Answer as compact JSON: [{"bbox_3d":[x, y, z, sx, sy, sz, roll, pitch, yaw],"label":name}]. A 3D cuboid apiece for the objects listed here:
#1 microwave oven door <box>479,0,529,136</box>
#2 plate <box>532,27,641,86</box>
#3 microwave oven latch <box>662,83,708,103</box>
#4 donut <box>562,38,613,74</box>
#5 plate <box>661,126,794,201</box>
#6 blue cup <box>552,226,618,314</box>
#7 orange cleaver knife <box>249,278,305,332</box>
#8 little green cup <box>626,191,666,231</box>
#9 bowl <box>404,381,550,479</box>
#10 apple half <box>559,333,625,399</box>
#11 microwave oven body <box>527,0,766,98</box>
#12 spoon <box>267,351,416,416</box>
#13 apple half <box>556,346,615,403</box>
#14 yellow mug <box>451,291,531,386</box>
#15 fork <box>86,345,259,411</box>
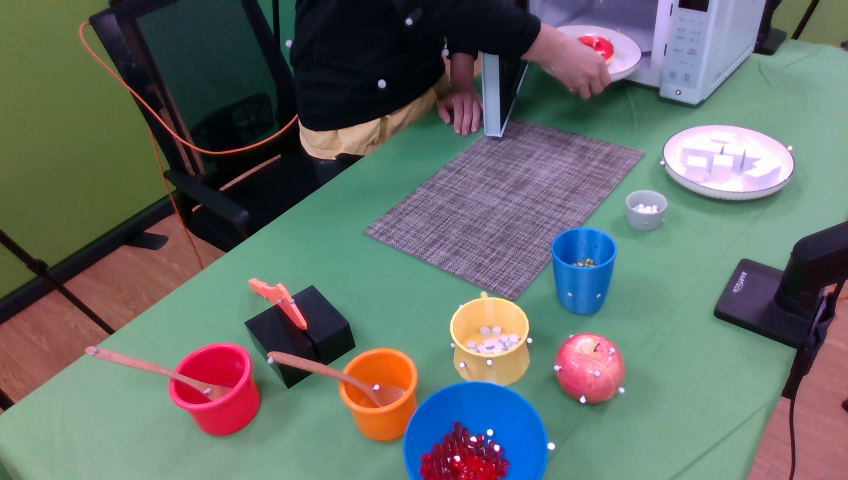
[{"bbox_3d":[0.168,-0.408,1.232,0.039,0.245,0.355,7,42,16],"label":"microwave oven door"},{"bbox_3d":[0.317,-0.356,1.190,0.209,0.038,0.208,0,44,1],"label":"plate"},{"bbox_3d":[0.518,-0.296,1.204,0.078,0.029,0.030,29,53,36],"label":"microwave oven latch"},{"bbox_3d":[0.319,-0.360,1.179,0.099,0.048,0.098,-1,42,1],"label":"donut"},{"bbox_3d":[0.513,-0.127,1.035,0.207,0.039,0.206,-4,40,4],"label":"plate"},{"bbox_3d":[0.218,0.047,0.825,0.092,0.100,0.092,-6,40,5],"label":"blue cup"},{"bbox_3d":[-0.210,0.089,0.855,0.012,0.077,0.210,-28,15,-24],"label":"orange cleaver knife"},{"bbox_3d":[0.352,-0.046,0.963,0.061,0.039,0.061,-4,40,4],"label":"little green cup"},{"bbox_3d":[0.058,0.235,0.645,0.151,0.077,0.150,-4,39,4],"label":"bowl"},{"bbox_3d":[0.209,0.147,0.730,0.080,0.075,0.053,26,48,38],"label":"apple half"},{"bbox_3d":[0.472,-0.513,1.317,0.438,0.261,0.327,26,51,34],"label":"microwave oven body"},{"bbox_3d":[-0.091,0.163,0.699,0.021,0.195,0.041,-44,30,27],"label":"spoon"},{"bbox_3d":[0.181,0.167,0.709,0.080,0.081,0.033,29,50,35],"label":"apple half"},{"bbox_3d":[0.086,0.120,0.786,0.100,0.064,0.130,-7,39,2],"label":"yellow mug"},{"bbox_3d":[-0.298,0.166,0.728,0.209,0.018,0.028,28,47,-23],"label":"fork"}]
